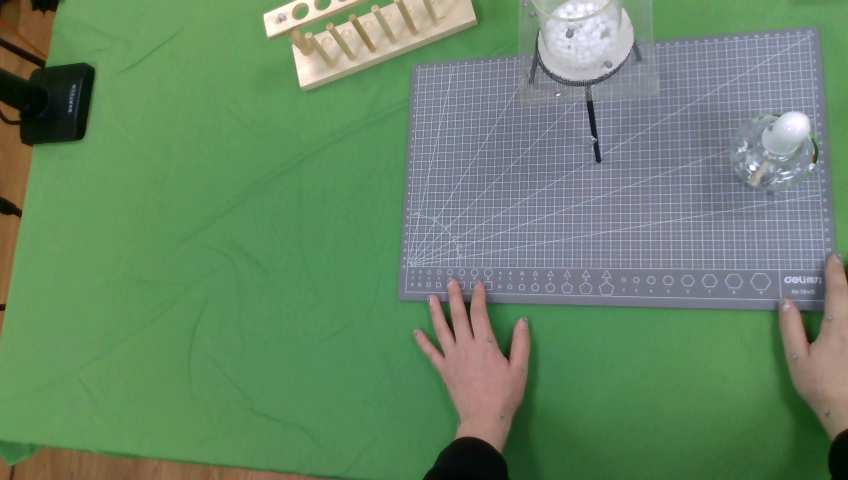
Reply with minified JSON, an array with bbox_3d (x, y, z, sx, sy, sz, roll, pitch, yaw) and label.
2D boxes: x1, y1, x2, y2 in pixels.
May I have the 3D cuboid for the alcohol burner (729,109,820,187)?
[{"bbox_3d":[0.333,-0.092,0.570,0.077,0.120,0.077,-3,78,15],"label":"alcohol burner"}]

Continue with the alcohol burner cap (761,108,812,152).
[{"bbox_3d":[0.323,-0.100,0.536,0.034,0.048,0.033,-2,81,14],"label":"alcohol burner cap"}]

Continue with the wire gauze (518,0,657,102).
[{"bbox_3d":[0.150,-0.188,0.565,0.125,0.011,0.121,0,82,14],"label":"wire gauze"}]

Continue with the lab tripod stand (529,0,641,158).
[{"bbox_3d":[0.169,-0.174,0.627,0.148,0.132,0.148,-3,79,15],"label":"lab tripod stand"}]

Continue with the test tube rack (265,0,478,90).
[{"bbox_3d":[-0.065,-0.273,0.747,0.242,0.086,0.066,-17,74,13],"label":"test tube rack"}]

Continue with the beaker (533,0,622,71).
[{"bbox_3d":[0.131,-0.198,0.521,0.083,0.101,0.074,14,83,20],"label":"beaker"}]
